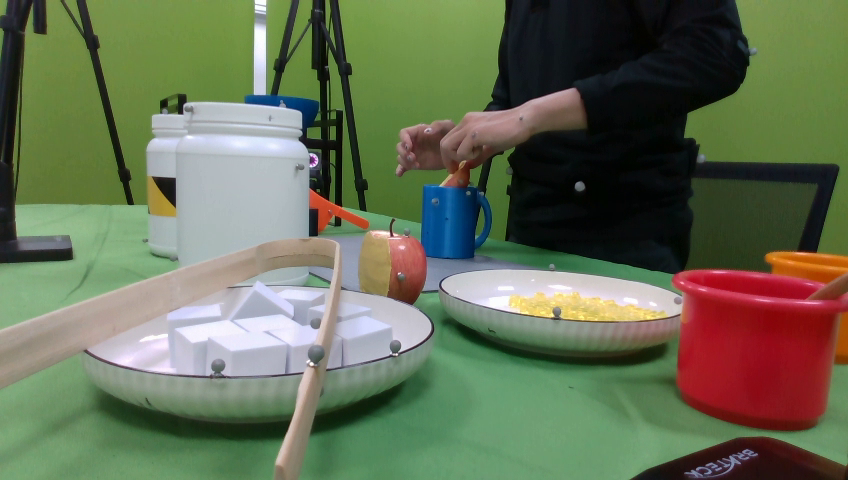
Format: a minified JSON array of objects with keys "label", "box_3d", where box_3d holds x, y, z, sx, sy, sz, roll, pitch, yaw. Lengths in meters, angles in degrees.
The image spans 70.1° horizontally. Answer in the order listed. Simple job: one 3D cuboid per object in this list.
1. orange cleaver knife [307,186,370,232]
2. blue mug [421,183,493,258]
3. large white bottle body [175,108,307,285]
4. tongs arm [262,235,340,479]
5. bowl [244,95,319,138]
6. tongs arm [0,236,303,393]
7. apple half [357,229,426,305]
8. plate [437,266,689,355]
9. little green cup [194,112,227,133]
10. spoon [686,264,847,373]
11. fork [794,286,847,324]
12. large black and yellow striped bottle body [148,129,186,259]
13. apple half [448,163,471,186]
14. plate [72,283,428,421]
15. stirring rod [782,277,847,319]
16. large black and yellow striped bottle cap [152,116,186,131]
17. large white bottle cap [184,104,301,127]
[{"label":"orange cleaver knife","box_3d":[-0.197,-0.056,1.141,0.212,0.077,0.012,29,0,-34]},{"label":"blue mug","box_3d":[0.052,-0.032,0.912,0.117,0.106,0.082,-1,8,-24]},{"label":"large white bottle body","box_3d":[-0.188,-0.042,0.630,0.131,0.184,0.130,2,8,0]},{"label":"tongs arm","box_3d":[-0.074,0.039,0.349,0.051,0.026,0.384,-1,9,-3]},{"label":"bowl","box_3d":[-0.293,-0.251,1.249,0.151,0.077,0.151,2,7,0]},{"label":"tongs arm","box_3d":[-0.157,0.038,0.351,0.028,0.028,0.388,-3,8,12]},{"label":"apple half","box_3d":[-0.026,0.028,0.570,0.053,0.074,0.080,3,2,-28]},{"label":"plate","box_3d":[0.114,0.057,0.517,0.209,0.038,0.209,3,7,0]},{"label":"little green cup","box_3d":[-0.412,-0.228,1.171,0.061,0.038,0.061,2,8,0]},{"label":"spoon","box_3d":[0.214,0.032,0.328,0.042,0.021,0.193,-3,-35,-26]},{"label":"fork","box_3d":[0.332,0.018,0.443,0.028,0.018,0.207,-1,-36,-15]},{"label":"large black and yellow striped bottle body","box_3d":[-0.310,-0.073,0.838,0.131,0.184,0.130,2,8,0]},{"label":"apple half","box_3d":[0.053,-0.075,0.895,0.033,0.081,0.081,17,9,7]},{"label":"plate","box_3d":[-0.102,0.066,0.381,0.208,0.039,0.207,2,7,0]},{"label":"stirring rod","box_3d":[0.344,0.019,0.460,0.014,0.006,0.176,-13,-27,-30]},{"label":"large black and yellow striped bottle cap","box_3d":[-0.309,-0.155,0.826,0.115,0.019,0.115,3,6,0]},{"label":"large white bottle cap","box_3d":[-0.184,-0.126,0.618,0.115,0.018,0.115,2,8,0]}]
